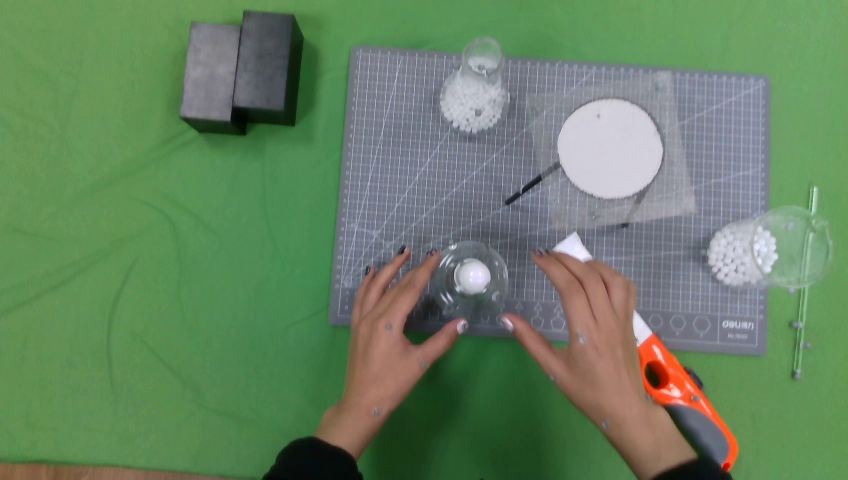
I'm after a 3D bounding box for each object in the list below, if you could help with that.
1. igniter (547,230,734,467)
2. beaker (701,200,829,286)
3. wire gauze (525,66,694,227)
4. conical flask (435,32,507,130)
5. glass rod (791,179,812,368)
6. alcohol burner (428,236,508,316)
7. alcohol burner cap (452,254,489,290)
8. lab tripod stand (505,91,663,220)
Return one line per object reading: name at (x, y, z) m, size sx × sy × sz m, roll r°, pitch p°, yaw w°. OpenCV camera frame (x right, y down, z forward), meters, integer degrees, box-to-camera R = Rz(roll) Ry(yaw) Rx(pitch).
igniter at (0.220, 0.108, 0.611) m, size 0.057 × 0.025 × 0.276 m, roll -36°, pitch 87°, yaw -20°
beaker at (0.324, 0.005, 0.584) m, size 0.084 × 0.100 × 0.074 m, roll -33°, pitch 86°, yaw -4°
wire gauze at (0.154, -0.077, 0.504) m, size 0.125 × 0.011 × 0.121 m, roll -9°, pitch 85°, yaw -1°
conical flask at (0.049, -0.157, 0.584) m, size 0.075 × 0.122 × 0.075 m, roll 0°, pitch 84°, yaw 0°
glass rod at (0.394, 0.033, 0.631) m, size 0.008 × 0.008 × 0.199 m, roll 8°, pitch 85°, yaw 0°
alcohol burner at (0.042, 0.033, 0.571) m, size 0.078 × 0.119 × 0.077 m, roll 0°, pitch 83°, yaw 2°
alcohol burner cap at (0.042, 0.028, 0.535) m, size 0.034 × 0.048 × 0.034 m, roll 0°, pitch 89°, yaw -3°
lab tripod stand at (0.153, -0.073, 0.572) m, size 0.148 × 0.131 × 0.148 m, roll 0°, pitch 86°, yaw 0°
